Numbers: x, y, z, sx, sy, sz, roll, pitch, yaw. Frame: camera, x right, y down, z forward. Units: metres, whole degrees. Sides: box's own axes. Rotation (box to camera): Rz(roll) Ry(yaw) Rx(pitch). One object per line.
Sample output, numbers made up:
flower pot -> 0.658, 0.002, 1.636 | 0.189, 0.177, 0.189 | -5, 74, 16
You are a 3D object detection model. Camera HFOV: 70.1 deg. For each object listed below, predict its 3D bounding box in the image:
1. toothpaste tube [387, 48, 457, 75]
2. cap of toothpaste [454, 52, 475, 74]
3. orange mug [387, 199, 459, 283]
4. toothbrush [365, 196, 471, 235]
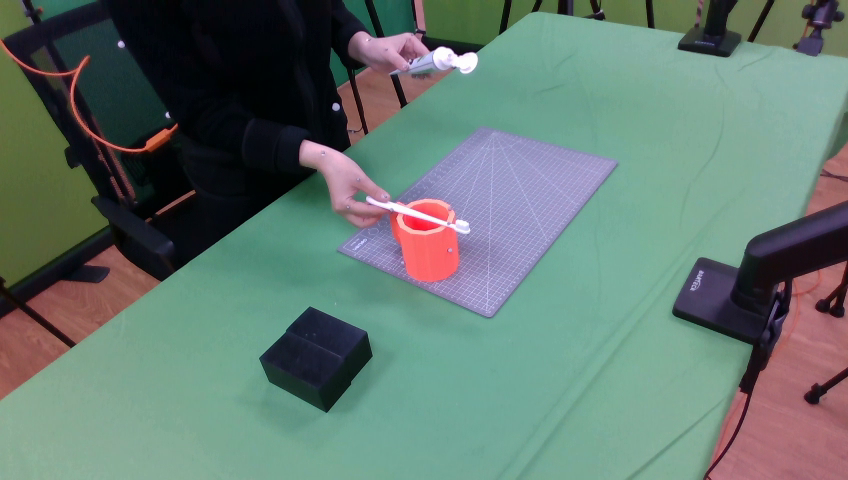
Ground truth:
toothpaste tube -> 0.000, -0.292, 1.010 | 0.055, 0.034, 0.164 | -11, 10, -32
cap of toothpaste -> 0.064, -0.280, 0.948 | 0.037, 0.011, 0.037 | -10, 73, 35
orange mug -> -0.006, -0.007, 0.922 | 0.125, 0.101, 0.084 | 33, 54, 32
toothbrush -> -0.013, -0.039, 0.880 | 0.180, 0.017, 0.014 | 18, 49, 27
